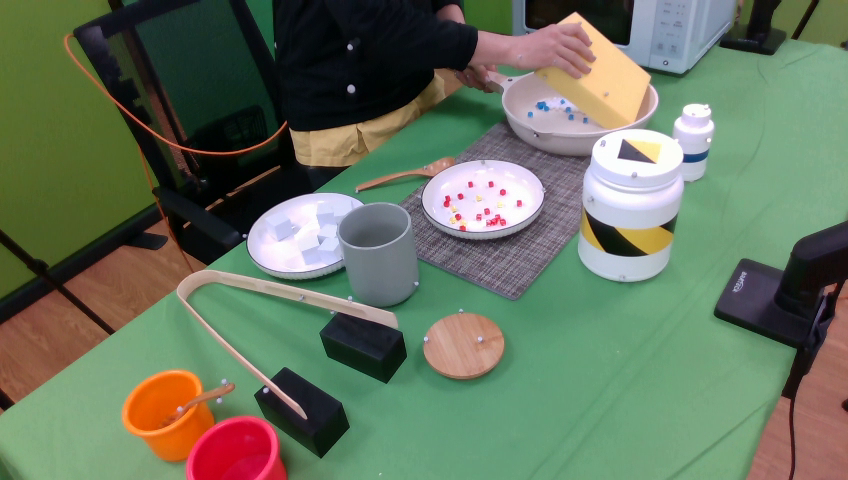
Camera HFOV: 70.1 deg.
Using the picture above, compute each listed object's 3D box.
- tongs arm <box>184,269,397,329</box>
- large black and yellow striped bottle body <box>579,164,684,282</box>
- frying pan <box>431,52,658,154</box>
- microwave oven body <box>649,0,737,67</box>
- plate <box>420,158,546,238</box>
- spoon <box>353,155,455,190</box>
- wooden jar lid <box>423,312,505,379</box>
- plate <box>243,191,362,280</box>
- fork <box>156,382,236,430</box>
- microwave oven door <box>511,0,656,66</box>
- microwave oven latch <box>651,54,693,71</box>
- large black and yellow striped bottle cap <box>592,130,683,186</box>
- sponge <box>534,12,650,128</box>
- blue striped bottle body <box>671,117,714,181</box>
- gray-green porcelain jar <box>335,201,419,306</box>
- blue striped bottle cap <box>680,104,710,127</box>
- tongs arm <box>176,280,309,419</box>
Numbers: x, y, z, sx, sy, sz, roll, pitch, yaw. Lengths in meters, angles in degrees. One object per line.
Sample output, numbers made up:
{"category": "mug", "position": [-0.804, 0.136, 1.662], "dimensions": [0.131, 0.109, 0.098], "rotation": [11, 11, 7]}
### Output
{"category": "tongs arm", "position": [-0.202, 0.084, 0.848], "dimensions": [0.382, 0.027, 0.051], "rotation": [11, 45, 35]}
{"category": "large black and yellow striped bottle body", "position": [0.292, -0.046, 0.859], "dimensions": [0.131, 0.185, 0.130], "rotation": [-4, 41, 4]}
{"category": "frying pan", "position": [0.216, -0.301, 1.223], "dimensions": [0.484, 0.103, 0.308], "rotation": [29, 49, 24]}
{"category": "microwave oven body", "position": [0.475, -0.602, 1.411], "dimensions": [0.438, 0.261, 0.327], "rotation": [23, 50, 32]}
{"category": "plate", "position": [0.099, -0.067, 1.017], "dimensions": [0.209, 0.038, 0.208], "rotation": [-4, 40, 4]}
{"category": "spoon", "position": [-0.038, -0.123, 1.116], "dimensions": [0.194, 0.022, 0.041], "rotation": [-12, 58, -4]}
{"category": "wooden jar lid", "position": [0.053, 0.142, 0.800], "dimensions": [0.108, 0.021, 0.108], "rotation": [-5, 39, 4]}
{"category": "plate", "position": [-0.187, -0.005, 0.992], "dimensions": [0.207, 0.039, 0.206], "rotation": [-4, 41, 4]}
{"category": "fork", "position": [-0.262, 0.189, 0.690], "dimensions": [0.018, 0.206, 0.028], "rotation": [49, 43, -7]}
{"category": "microwave oven door", "position": [0.351, -0.540, 1.349], "dimensions": [0.353, 0.245, 0.039], "rotation": [24, 50, 31]}
{"category": "microwave oven latch", "position": [0.532, -0.386, 1.301], "dimensions": [0.078, 0.029, 0.030], "rotation": [26, 51, 33]}
{"category": "large black and yellow striped bottle cap", "position": [0.282, -0.111, 0.803], "dimensions": [0.115, 0.019, 0.114], "rotation": [-3, 41, 3]}
{"category": "sponge", "position": [0.320, -0.314, 1.143], "dimensions": [0.060, 0.208, 0.118], "rotation": [-13, 51, 62]}
{"category": "blue striped bottle body", "position": [0.449, -0.165, 1.022], "dimensions": [0.063, 0.121, 0.063], "rotation": [-5, 41, 4]}
{"category": "gray-green porcelain jar", "position": [-0.064, 0.024, 0.872], "dimensions": [0.106, 0.127, 0.105], "rotation": [-4, 41, 4]}
{"category": "blue striped bottle cap", "position": [0.443, -0.205, 0.989], "dimensions": [0.044, 0.021, 0.044], "rotation": [-2, 41, 2]}
{"category": "tongs arm", "position": [-0.254, 0.133, 0.801], "dimensions": [0.028, 0.028, 0.384], "rotation": [-41, 41, -23]}
